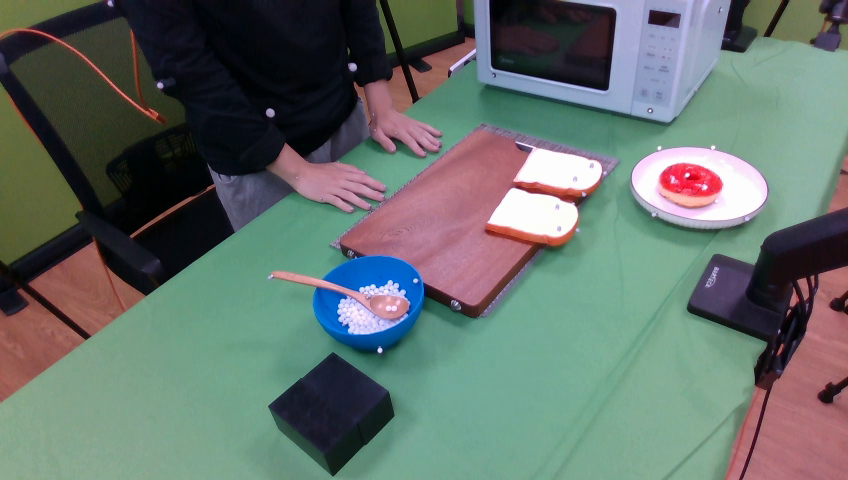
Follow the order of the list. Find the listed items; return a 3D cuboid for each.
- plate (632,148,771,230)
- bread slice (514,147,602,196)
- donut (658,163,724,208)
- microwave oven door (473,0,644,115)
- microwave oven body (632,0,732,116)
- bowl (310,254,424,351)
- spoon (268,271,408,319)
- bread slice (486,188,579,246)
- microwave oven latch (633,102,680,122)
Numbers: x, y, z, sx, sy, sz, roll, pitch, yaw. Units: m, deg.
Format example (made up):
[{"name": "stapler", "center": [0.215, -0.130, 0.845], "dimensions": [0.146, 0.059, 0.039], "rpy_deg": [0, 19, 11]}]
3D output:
[{"name": "plate", "center": [0.447, -0.081, 0.988], "dimensions": [0.207, 0.039, 0.206], "rpy_deg": [-4, 40, 4]}, {"name": "bread slice", "center": [0.232, -0.115, 1.027], "dimensions": [0.133, 0.018, 0.107], "rpy_deg": [13, 45, 20]}, {"name": "donut", "center": [0.432, -0.090, 0.982], "dimensions": [0.099, 0.048, 0.098], "rpy_deg": [-3, 38, 3]}, {"name": "microwave oven door", "center": [0.257, -0.396, 1.199], "dimensions": [0.353, 0.245, 0.039], "rpy_deg": [21, 48, 29]}, {"name": "microwave oven body", "center": [0.377, -0.462, 1.267], "dimensions": [0.438, 0.261, 0.327], "rpy_deg": [21, 48, 30]}, {"name": "bowl", "center": [-0.071, 0.098, 0.821], "dimensions": [0.151, 0.077, 0.150], "rpy_deg": [-4, 40, 4]}, {"name": "spoon", "center": [-0.116, 0.069, 0.813], "dimensions": [0.194, 0.021, 0.041], "rpy_deg": [18, 39, 1]}, {"name": "bread slice", "center": [0.176, -0.037, 0.946], "dimensions": [0.131, 0.019, 0.105], "rpy_deg": [15, 47, 24]}, {"name": "microwave oven latch", "center": [0.444, -0.249, 1.157], "dimensions": [0.078, 0.029, 0.030], "rpy_deg": [22, 49, 30]}]
